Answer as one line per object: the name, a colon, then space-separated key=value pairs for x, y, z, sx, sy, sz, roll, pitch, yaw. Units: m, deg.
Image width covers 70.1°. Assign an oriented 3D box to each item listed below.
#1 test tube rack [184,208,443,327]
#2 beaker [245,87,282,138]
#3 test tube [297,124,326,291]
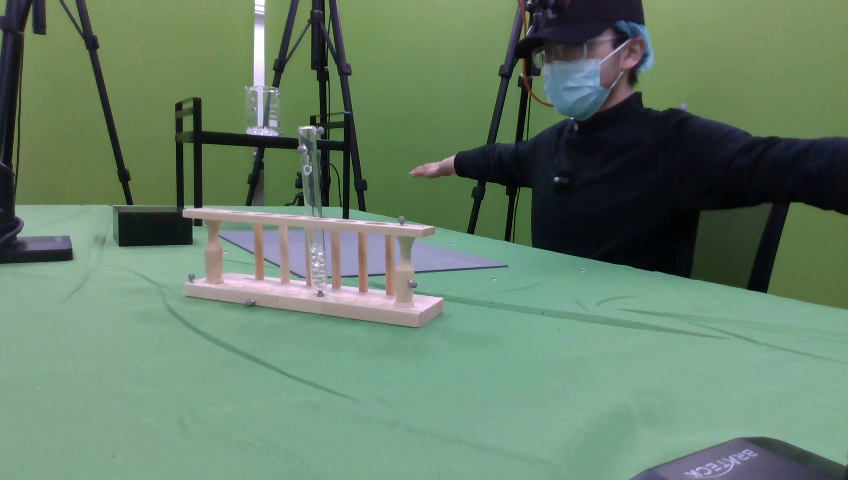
test tube rack: x=-0.106 y=0.019 z=0.570 sx=0.241 sy=0.085 sz=0.067 roll=5 pitch=7 yaw=20
beaker: x=-0.337 y=-0.266 z=1.260 sx=0.074 sy=0.100 sz=0.084 roll=5 pitch=8 yaw=23
test tube: x=-0.101 y=-0.028 z=0.542 sx=0.017 sy=0.150 sz=0.017 roll=-2 pitch=10 yaw=1
